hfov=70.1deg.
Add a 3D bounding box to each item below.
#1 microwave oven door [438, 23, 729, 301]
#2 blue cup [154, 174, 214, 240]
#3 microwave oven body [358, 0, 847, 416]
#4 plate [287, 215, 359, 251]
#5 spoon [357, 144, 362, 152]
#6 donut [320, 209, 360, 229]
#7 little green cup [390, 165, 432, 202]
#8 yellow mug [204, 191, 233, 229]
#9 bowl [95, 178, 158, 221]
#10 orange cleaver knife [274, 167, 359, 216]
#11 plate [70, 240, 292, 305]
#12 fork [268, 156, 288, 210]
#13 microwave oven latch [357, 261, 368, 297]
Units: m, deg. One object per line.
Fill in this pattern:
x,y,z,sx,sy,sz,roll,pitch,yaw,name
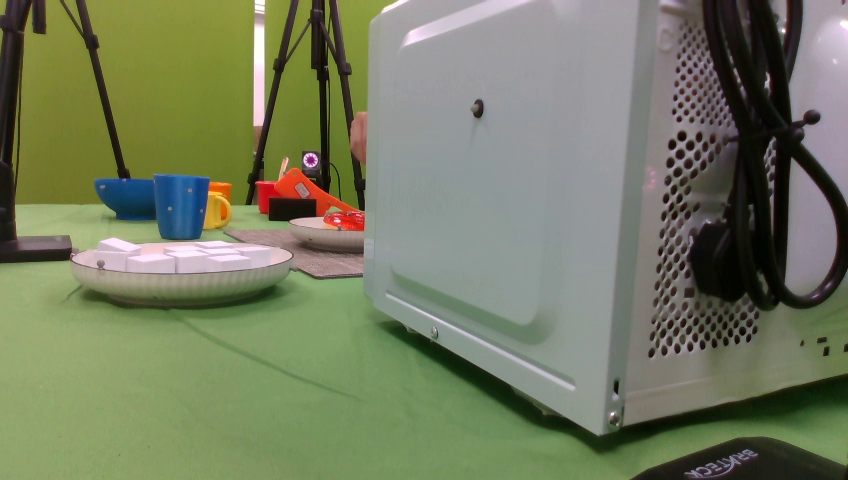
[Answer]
0.181,-0.072,0.620,0.358,0.243,0.039,-2,8,-29,microwave oven door
-0.390,-0.053,0.978,0.093,0.100,0.092,3,6,0,blue cup
0.211,-0.047,0.474,0.444,0.260,0.324,-1,7,-28,microwave oven body
-0.112,-0.012,0.960,0.209,0.038,0.209,3,8,0,plate
-0.089,-0.133,1.025,0.042,0.021,0.193,-13,32,-12,spoon
-0.115,-0.023,0.961,0.099,0.048,0.099,5,8,0,donut
-0.018,-0.086,0.926,0.061,0.038,0.061,-19,-6,-2,little green cup
-0.415,-0.057,1.132,0.130,0.064,0.100,6,8,16,yellow mug
-0.576,-0.081,1.217,0.151,0.077,0.151,3,8,0,bowl
-0.238,-0.090,1.381,0.212,0.077,0.012,31,0,-19,orange cleaver knife
-0.242,0.031,0.618,0.208,0.039,0.207,2,8,0,plate
-0.360,-0.144,1.508,0.028,0.018,0.207,2,49,0,fork
-0.019,0.033,0.531,0.079,0.029,0.030,-1,7,-27,microwave oven latch
